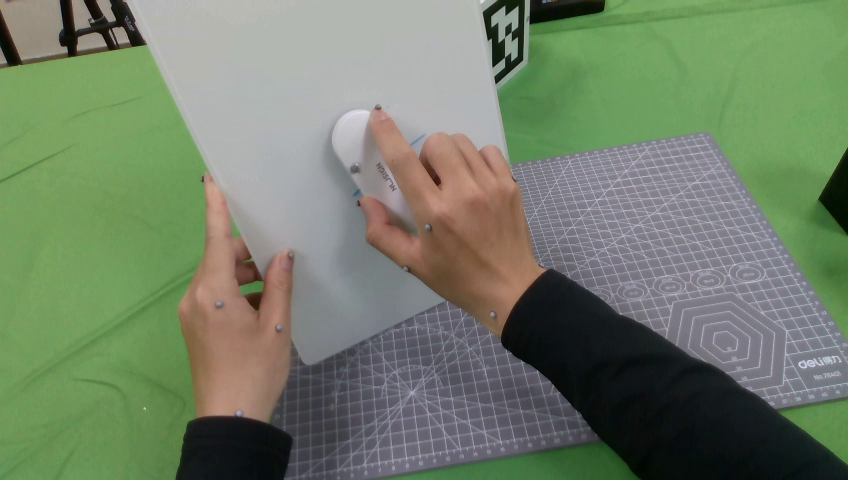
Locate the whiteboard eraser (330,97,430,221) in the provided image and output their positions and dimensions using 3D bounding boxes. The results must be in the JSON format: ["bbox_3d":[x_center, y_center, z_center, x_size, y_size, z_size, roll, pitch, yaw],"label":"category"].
[{"bbox_3d":[-0.030,-0.057,0.436,0.041,0.102,0.018,-37,33,-5],"label":"whiteboard eraser"}]

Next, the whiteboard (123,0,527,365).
[{"bbox_3d":[-0.066,-0.094,0.494,0.217,0.308,0.142,-25,33,-12],"label":"whiteboard"}]
